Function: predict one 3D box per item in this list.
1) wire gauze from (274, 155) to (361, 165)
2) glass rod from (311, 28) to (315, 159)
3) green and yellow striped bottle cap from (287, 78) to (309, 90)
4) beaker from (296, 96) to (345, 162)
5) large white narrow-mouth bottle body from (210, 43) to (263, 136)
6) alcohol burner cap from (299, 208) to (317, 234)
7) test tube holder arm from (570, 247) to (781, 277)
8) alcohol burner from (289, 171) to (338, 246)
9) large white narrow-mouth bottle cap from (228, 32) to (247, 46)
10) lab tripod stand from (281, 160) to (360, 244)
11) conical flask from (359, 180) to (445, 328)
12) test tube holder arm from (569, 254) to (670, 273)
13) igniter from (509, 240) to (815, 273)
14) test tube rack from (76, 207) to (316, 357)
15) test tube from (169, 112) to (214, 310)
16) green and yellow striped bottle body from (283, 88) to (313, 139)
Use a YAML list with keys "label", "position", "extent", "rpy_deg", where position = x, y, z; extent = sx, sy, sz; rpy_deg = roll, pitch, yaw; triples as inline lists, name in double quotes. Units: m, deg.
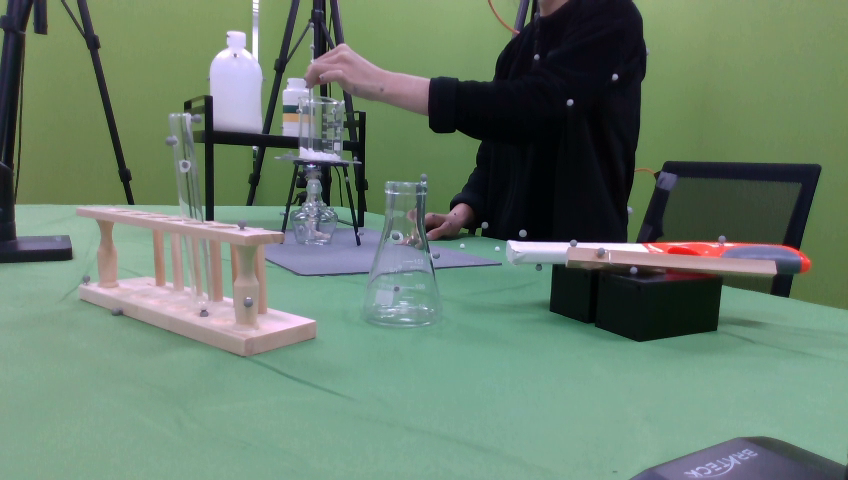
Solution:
- label: "wire gauze"
  position: [-0.174, -0.129, 0.978]
  extent: [0.125, 0.011, 0.121]
  rpy_deg: [-2, 6, -19]
- label: "glass rod"
  position: [-0.173, -0.226, 0.941]
  extent: [0.008, 0.199, 0.008]
  rpy_deg: [2, 10, 0]
- label: "green and yellow striped bottle cap"
  position: [-0.265, -0.326, 1.268]
  extent: [0.045, 0.020, 0.045]
  rpy_deg: [4, 6, 0]
- label: "beaker"
  position: [-0.163, -0.175, 0.966]
  extent: [0.083, 0.100, 0.074]
  rpy_deg: [7, 8, 34]
- label: "large white narrow-mouth bottle body"
  position: [-0.369, -0.305, 1.194]
  extent: [0.102, 0.194, 0.102]
  rpy_deg: [3, 8, 0]
- label: "alcohol burner cap"
  position: [-0.213, -0.035, 1.109]
  extent: [0.034, 0.048, 0.034]
  rpy_deg: [3, 7, 0]
- label: "test tube holder arm"
  position: [0.217, 0.019, 0.524]
  extent: [0.178, 0.015, 0.013]
  rpy_deg: [3, -23, 3]
- label: "alcohol burner"
  position: [-0.177, -0.051, 0.968]
  extent: [0.078, 0.119, 0.078]
  rpy_deg: [1, 6, 0]
- label: "large white narrow-mouth bottle cap"
  position: [-0.364, -0.391, 1.180]
  extent: [0.038, 0.024, 0.037]
  rpy_deg: [4, 8, 0]
- label: "lab tripod stand"
  position: [-0.170, -0.063, 0.983]
  extent: [0.148, 0.131, 0.148]
  rpy_deg: [1, 6, 0]
- label: "conical flask"
  position: [-0.017, 0.010, 0.522]
  extent: [0.075, 0.122, 0.075]
  rpy_deg: [2, 7, 0]
- label: "test tube holder arm"
  position: [0.172, 0.019, 0.532]
  extent: [0.088, 0.015, 0.010]
  rpy_deg: [3, -23, 4]
- label: "igniter"
  position: [0.220, 0.015, 0.566]
  extent: [0.277, 0.025, 0.057]
  rpy_deg: [2, 16, 0]
- label: "test tube rack"
  position: [-0.196, 0.023, 0.499]
  extent: [0.241, 0.085, 0.067]
  rpy_deg: [8, 9, 36]
- label: "test tube"
  position: [-0.175, -0.020, 0.456]
  extent: [0.017, 0.150, 0.017]
  rpy_deg: [-3, 9, 1]
- label: "green and yellow striped bottle body"
  position: [-0.265, -0.275, 1.275]
  extent: [0.063, 0.119, 0.063]
  rpy_deg: [3, 7, 0]
